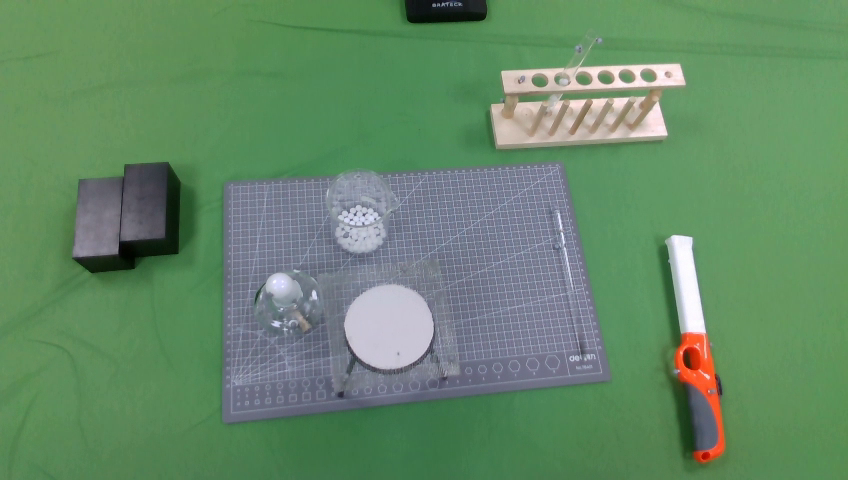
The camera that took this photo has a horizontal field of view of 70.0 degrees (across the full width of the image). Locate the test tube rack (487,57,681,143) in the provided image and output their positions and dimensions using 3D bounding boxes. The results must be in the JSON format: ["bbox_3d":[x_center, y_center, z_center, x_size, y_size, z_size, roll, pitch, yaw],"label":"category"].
[{"bbox_3d":[0.214,-0.188,0.817,0.243,0.085,0.066,-4,69,-7],"label":"test tube rack"}]

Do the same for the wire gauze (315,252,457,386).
[{"bbox_3d":[-0.038,0.075,0.592,0.125,0.011,0.120,-7,69,-8],"label":"wire gauze"}]

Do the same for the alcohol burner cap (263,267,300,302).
[{"bbox_3d":[-0.151,0.046,0.637,0.034,0.048,0.033,0,74,1],"label":"alcohol burner cap"}]

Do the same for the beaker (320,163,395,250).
[{"bbox_3d":[-0.078,-0.036,0.721,0.084,0.101,0.073,4,69,-4],"label":"beaker"}]

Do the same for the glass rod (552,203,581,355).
[{"bbox_3d":[0.179,0.045,0.763,0.008,0.008,0.198,-3,72,-7],"label":"glass rod"}]

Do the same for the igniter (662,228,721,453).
[{"bbox_3d":[0.326,0.116,0.742,0.057,0.025,0.274,6,69,-14],"label":"igniter"}]

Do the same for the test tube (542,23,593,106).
[{"bbox_3d":[0.178,-0.219,0.773,0.017,0.151,0.017,4,67,-9],"label":"test tube"}]

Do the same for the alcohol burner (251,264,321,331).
[{"bbox_3d":[-0.155,0.058,0.671,0.078,0.120,0.077,2,66,-4],"label":"alcohol burner"}]

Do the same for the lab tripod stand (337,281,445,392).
[{"bbox_3d":[-0.042,0.102,0.653,0.148,0.132,0.147,1,68,-3],"label":"lab tripod stand"}]
